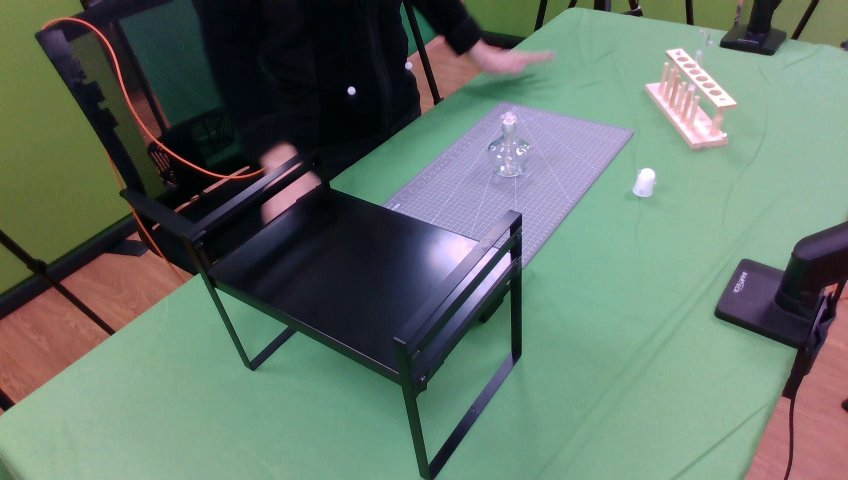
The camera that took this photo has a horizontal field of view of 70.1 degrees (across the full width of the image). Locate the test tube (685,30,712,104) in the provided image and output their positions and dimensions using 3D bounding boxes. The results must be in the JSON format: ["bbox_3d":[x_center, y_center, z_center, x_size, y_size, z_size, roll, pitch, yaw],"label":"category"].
[{"bbox_3d":[0.521,-0.325,1.150,0.017,0.151,0.017,-3,45,3],"label":"test tube"}]

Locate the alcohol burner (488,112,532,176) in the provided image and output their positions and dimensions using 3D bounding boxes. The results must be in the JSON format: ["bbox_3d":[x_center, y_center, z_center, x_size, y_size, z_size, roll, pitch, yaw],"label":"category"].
[{"bbox_3d":[0.154,-0.176,1.083,0.078,0.119,0.077,-3,41,3],"label":"alcohol burner"}]

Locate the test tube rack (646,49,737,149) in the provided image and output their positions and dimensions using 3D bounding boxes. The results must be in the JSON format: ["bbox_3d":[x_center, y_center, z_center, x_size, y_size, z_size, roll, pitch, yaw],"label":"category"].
[{"bbox_3d":[0.511,-0.280,1.175,0.067,0.085,0.241,-8,41,0],"label":"test tube rack"}]

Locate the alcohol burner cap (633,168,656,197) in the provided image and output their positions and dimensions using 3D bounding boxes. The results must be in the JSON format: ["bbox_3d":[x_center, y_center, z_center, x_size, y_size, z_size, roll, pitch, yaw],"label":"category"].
[{"bbox_3d":[0.374,-0.099,1.018,0.034,0.048,0.033,0,41,1],"label":"alcohol burner cap"}]

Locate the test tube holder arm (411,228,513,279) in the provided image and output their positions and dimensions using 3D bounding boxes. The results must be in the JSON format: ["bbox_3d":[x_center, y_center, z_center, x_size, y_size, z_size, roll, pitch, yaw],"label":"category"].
[{"bbox_3d":[0.051,0.018,0.870,0.177,0.015,0.013,26,83,33],"label":"test tube holder arm"}]

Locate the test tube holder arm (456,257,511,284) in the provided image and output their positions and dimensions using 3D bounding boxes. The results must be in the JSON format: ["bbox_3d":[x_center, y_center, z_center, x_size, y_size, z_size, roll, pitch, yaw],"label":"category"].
[{"bbox_3d":[0.082,0.039,0.845,0.087,0.015,0.010,27,84,33],"label":"test tube holder arm"}]
